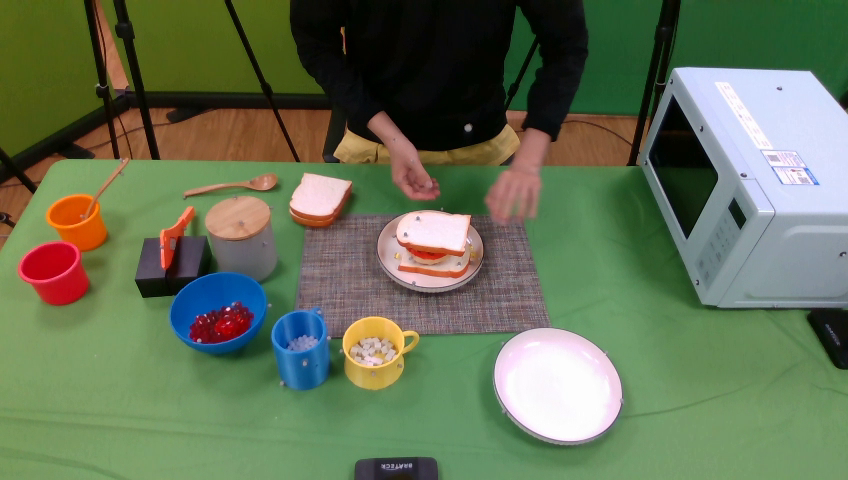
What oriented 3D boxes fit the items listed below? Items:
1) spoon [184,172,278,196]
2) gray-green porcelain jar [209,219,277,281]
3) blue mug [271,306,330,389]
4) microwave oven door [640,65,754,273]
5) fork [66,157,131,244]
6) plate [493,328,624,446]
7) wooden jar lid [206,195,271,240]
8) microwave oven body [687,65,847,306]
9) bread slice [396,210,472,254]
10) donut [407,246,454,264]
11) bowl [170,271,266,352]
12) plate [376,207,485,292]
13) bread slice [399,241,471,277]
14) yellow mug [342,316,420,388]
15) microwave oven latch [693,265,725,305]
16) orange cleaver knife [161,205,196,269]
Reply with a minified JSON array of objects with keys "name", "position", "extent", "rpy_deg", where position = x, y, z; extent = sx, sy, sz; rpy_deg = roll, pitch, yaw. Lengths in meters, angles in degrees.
[{"name":"spoon","position":[-0.405,-0.116,1.275],"extent":[0.194,0.022,0.041],"rpy_deg":[-8,65,-12]},{"name":"gray-green porcelain jar","position":[-0.323,0.007,1.092],"extent":[0.106,0.127,0.105],"rpy_deg":[2,46,-2]},{"name":"blue mug","position":[-0.188,0.163,0.969],"extent":[0.082,0.106,0.116],"rpy_deg":[15,47,10]},{"name":"microwave oven door","position":[0.522,-0.147,1.193],"extent":[0.039,0.245,0.353],"rpy_deg":[0,47,-3]},{"name":"fork","position":[-0.608,-0.074,1.132],"extent":[0.207,0.019,0.028],"rpy_deg":[-52,48,10]},{"name":"plate","position":[0.213,0.236,0.974],"extent":[0.208,0.039,0.206],"rpy_deg":[2,46,-2]},{"name":"wooden jar lid","position":[-0.319,-0.036,1.046],"extent":[0.108,0.021,0.107],"rpy_deg":[1,44,0]},{"name":"microwave oven body","position":[0.669,-0.111,1.176],"extent":[0.326,0.261,0.439],"rpy_deg":[0,46,-3]},{"name":"bread slice","position":[0.017,-0.016,1.113],"extent":[0.134,0.018,0.106],"rpy_deg":[3,40,6]},{"name":"donut","position":[0.015,0.005,1.141],"extent":[0.099,0.048,0.098],"rpy_deg":[-1,37,1]},{"name":"bowl","position":[-0.333,0.132,1.006],"extent":[0.151,0.077,0.150],"rpy_deg":[2,46,-2]},{"name":"plate","position":[0.012,0.021,1.158],"extent":[0.209,0.038,0.208],"rpy_deg":[2,47,-2]},{"name":"bread slice","position":[0.025,0.027,1.161],"extent":[0.131,0.019,0.104],"rpy_deg":[5,46,8]},{"name":"yellow mug","position":[-0.068,0.177,0.990],"extent":[0.131,0.064,0.099],"rpy_deg":[-15,50,-19]},{"name":"microwave oven latch","position":[0.522,0.081,1.115],"extent":[0.030,0.029,0.078],"rpy_deg":[2,46,-1]},{"name":"orange cleaver knife","position":[-0.454,-0.010,1.129],"extent":[0.012,0.077,0.210],"rpy_deg":[-1,20,-5]}]
